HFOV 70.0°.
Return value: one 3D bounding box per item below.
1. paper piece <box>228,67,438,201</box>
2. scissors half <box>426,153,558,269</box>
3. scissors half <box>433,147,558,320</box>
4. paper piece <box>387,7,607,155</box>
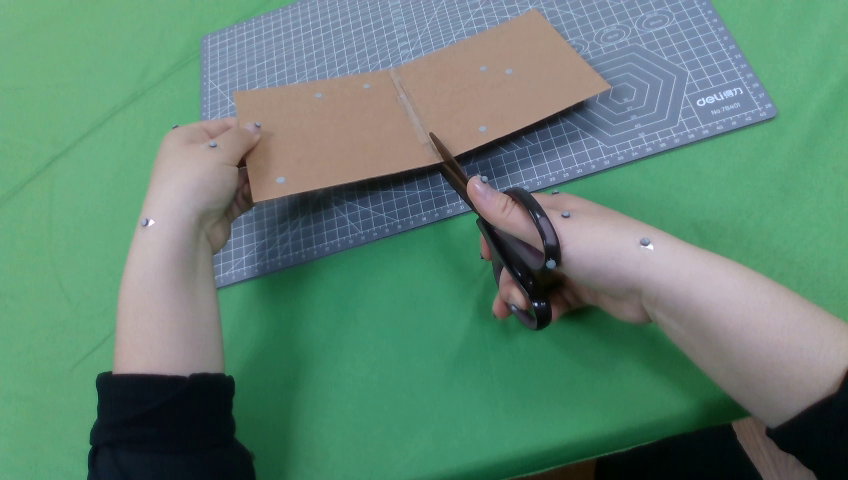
[{"bbox_3d":[-0.075,-0.089,0.465,0.138,0.009,0.134,-15,45,-10],"label":"paper piece"},{"bbox_3d":[0.034,-0.031,0.388,0.013,0.040,0.173,-20,29,-15],"label":"scissors half"},{"bbox_3d":[0.037,-0.015,0.403,0.013,0.040,0.173,-23,56,-11],"label":"scissors half"},{"bbox_3d":[0.050,-0.131,0.479,0.135,0.004,0.134,-23,49,-1],"label":"paper piece"}]
